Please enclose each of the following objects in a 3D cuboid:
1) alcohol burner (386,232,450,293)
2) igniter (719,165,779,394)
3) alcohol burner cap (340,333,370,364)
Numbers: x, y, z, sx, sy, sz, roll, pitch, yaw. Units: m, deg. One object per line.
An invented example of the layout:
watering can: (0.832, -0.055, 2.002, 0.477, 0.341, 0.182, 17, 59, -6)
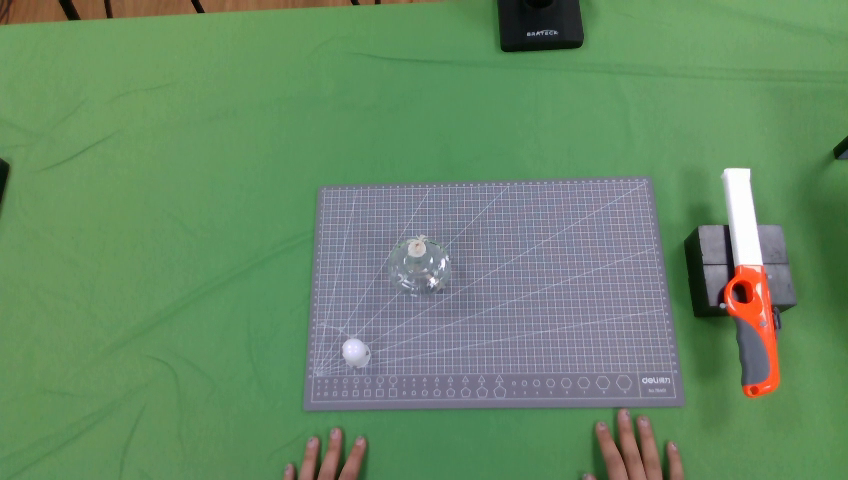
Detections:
alcohol burner: (-0.008, 0.021, 0.724, 0.078, 0.120, 0.077, 0, 69, 1)
igniter: (0.371, 0.038, 0.699, 0.057, 0.025, 0.274, 2, 68, 7)
alcohol burner cap: (-0.085, 0.129, 0.727, 0.034, 0.048, 0.033, -1, 69, 4)
